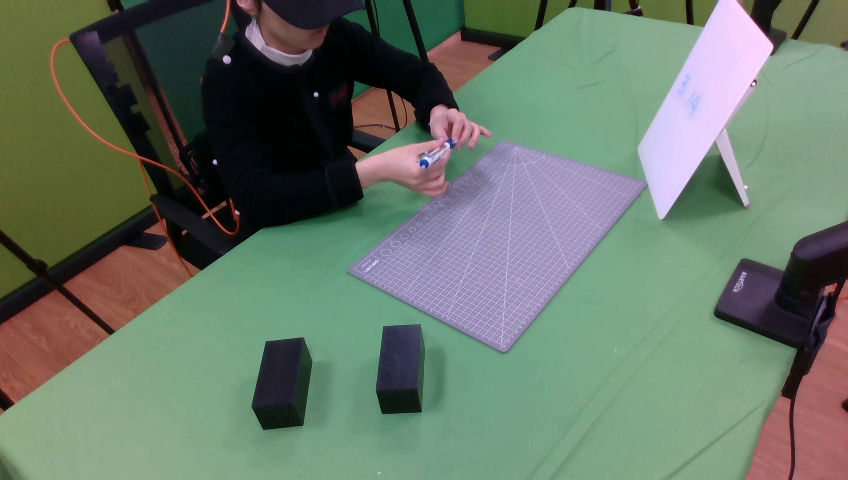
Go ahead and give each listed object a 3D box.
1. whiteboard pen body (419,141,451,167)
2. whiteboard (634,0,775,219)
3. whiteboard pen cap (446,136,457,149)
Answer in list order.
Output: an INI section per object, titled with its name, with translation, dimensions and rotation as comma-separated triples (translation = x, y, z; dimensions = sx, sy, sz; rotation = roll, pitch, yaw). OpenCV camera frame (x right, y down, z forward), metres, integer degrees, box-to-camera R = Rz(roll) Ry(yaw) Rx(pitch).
[whiteboard pen body]
translation = 0.022, -0.145, 0.998
dimensions = 0.017, 0.017, 0.141
rotation = 9, 25, 19
[whiteboard]
translation = 0.485, -0.193, 0.957
dimensions = 0.144, 0.305, 0.216
rotation = 14, 41, -4
[whiteboard pen cap]
translation = 0.045, -0.168, 1.053
dimensions = 0.018, 0.018, 0.033
rotation = 6, 26, 16
